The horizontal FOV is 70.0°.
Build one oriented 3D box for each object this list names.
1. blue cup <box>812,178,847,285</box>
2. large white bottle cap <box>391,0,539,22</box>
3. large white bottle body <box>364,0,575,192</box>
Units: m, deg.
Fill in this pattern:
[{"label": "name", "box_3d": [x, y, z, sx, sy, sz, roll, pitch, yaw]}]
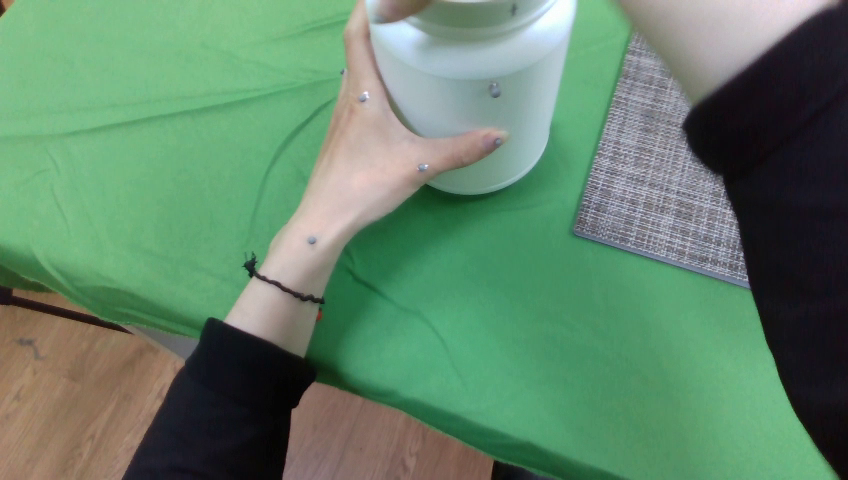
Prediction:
[{"label": "blue cup", "box_3d": [0.306, -0.014, 0.390, 0.092, 0.101, 0.092, -2, 63, 3]}, {"label": "large white bottle cap", "box_3d": [0.024, -0.169, 0.339, 0.115, 0.018, 0.114, -1, 65, 2]}, {"label": "large white bottle body", "box_3d": [0.030, -0.132, 0.415, 0.130, 0.186, 0.129, -1, 63, 2]}]
